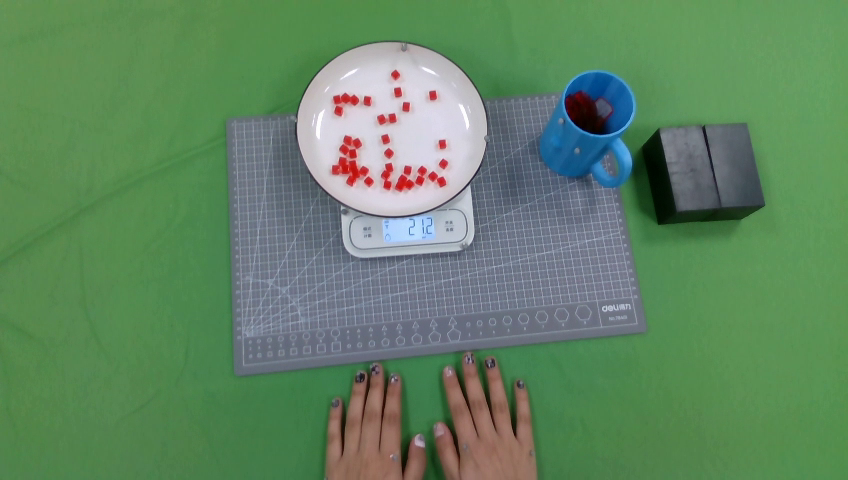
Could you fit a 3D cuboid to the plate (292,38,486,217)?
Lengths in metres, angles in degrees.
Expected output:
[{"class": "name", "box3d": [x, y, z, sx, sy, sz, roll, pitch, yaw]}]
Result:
[{"class": "plate", "box3d": [-0.037, -0.120, 0.665, 0.209, 0.038, 0.208, 1, 76, -3]}]

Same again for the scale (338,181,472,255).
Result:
[{"class": "scale", "box3d": [-0.026, -0.086, 0.691, 0.149, 0.032, 0.200, -4, 77, -3]}]

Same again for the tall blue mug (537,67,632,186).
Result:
[{"class": "tall blue mug", "box3d": [0.186, -0.120, 0.669, 0.107, 0.108, 0.077, 32, 76, 6]}]
